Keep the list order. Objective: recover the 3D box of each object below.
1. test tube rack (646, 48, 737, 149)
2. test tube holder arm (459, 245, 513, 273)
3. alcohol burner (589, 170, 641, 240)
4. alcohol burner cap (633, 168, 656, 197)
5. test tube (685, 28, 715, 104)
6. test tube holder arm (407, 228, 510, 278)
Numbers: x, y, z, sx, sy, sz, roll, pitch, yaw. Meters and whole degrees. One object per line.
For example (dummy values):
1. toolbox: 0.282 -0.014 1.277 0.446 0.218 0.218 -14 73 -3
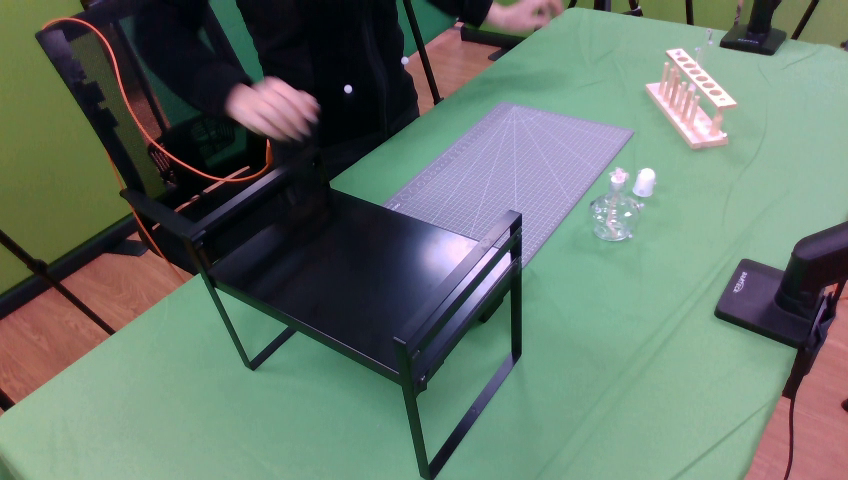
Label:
1. test tube rack: 0.511 -0.280 1.175 0.067 0.085 0.241 -8 41 1
2. test tube holder arm: 0.085 0.027 0.857 0.087 0.015 0.010 21 64 30
3. alcohol burner: 0.295 -0.058 0.930 0.078 0.119 0.077 -3 41 3
4. alcohol burner cap: 0.373 -0.099 1.018 0.034 0.048 0.033 0 41 1
5. test tube: 0.524 -0.328 1.152 0.017 0.151 0.017 -1 42 1
6. test tube holder arm: 0.046 0.017 0.877 0.177 0.015 0.013 21 64 30
